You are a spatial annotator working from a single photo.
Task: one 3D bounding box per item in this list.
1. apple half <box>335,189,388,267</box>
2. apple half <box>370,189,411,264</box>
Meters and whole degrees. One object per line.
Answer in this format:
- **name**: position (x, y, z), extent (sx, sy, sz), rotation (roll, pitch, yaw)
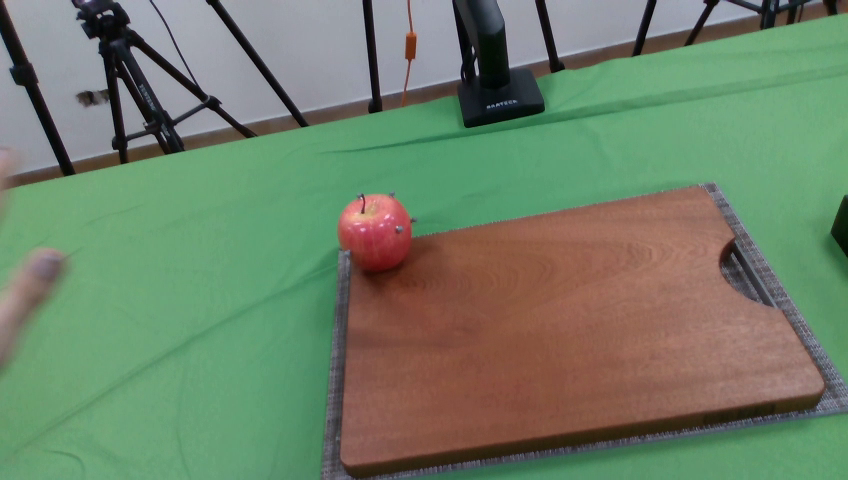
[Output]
- **apple half**: position (-0.067, -0.011, 0.659), extent (0.053, 0.075, 0.080), rotation (-6, 46, 15)
- **apple half**: position (-0.030, -0.015, 0.651), extent (0.032, 0.082, 0.080), rotation (-7, 44, 15)
